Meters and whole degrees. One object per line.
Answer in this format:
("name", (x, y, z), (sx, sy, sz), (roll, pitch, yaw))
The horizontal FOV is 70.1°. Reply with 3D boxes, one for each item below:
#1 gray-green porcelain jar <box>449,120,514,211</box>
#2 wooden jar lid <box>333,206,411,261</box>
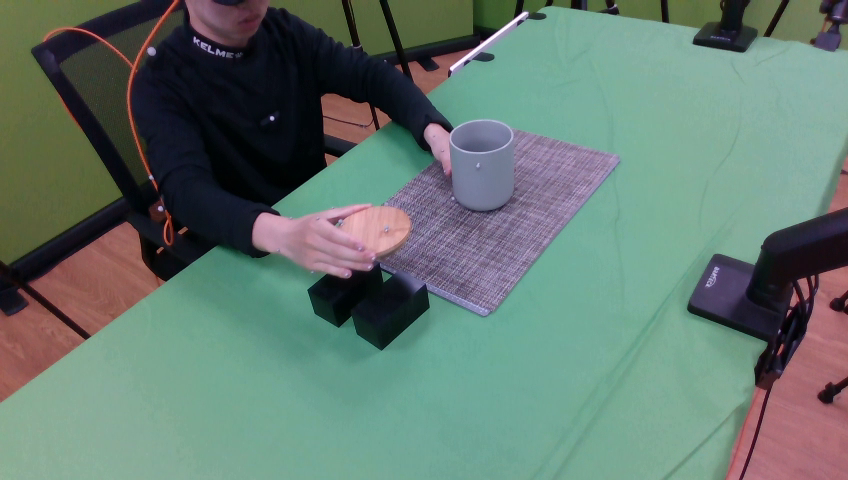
("gray-green porcelain jar", (0.097, -0.120, 1.009), (0.106, 0.127, 0.105), (-4, 41, 4))
("wooden jar lid", (-0.070, -0.007, 0.827), (0.108, 0.021, 0.108), (-8, 37, 6))
